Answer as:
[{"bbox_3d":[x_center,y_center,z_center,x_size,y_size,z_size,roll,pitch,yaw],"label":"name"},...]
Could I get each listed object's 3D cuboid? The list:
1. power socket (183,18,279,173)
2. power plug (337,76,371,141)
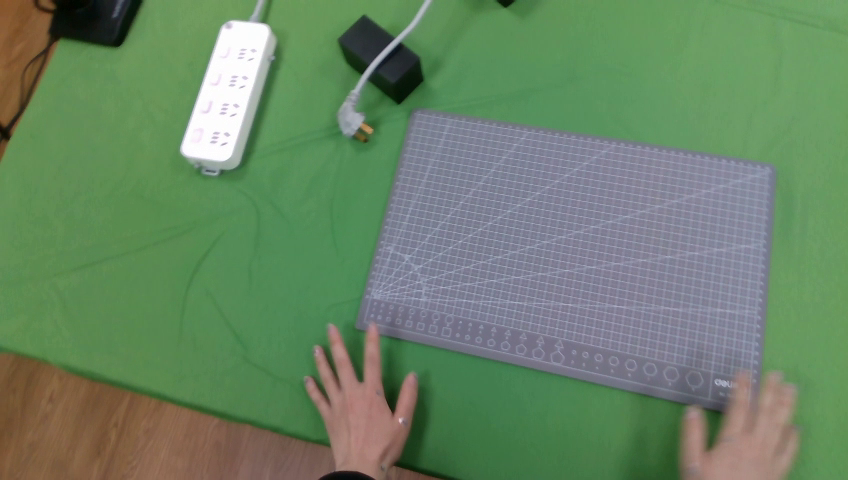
[{"bbox_3d":[-0.254,-0.198,0.805,0.072,0.033,0.225,11,74,7],"label":"power socket"},{"bbox_3d":[-0.079,-0.161,0.765,0.053,0.035,0.072,35,119,-22],"label":"power plug"}]
